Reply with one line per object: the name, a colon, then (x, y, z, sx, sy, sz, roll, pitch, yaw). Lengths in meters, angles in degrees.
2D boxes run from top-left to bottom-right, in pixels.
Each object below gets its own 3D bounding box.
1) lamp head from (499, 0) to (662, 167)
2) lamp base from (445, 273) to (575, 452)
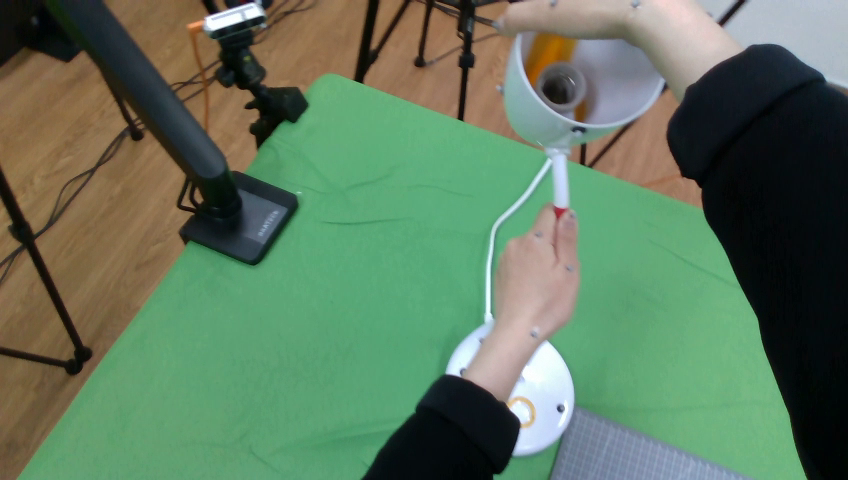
lamp head: (0.110, -0.121, 0.479, 0.112, 0.123, 0.112, 2, 76, -7)
lamp base: (0.105, 0.128, 0.680, 0.161, 0.181, 0.177, -16, 60, -13)
